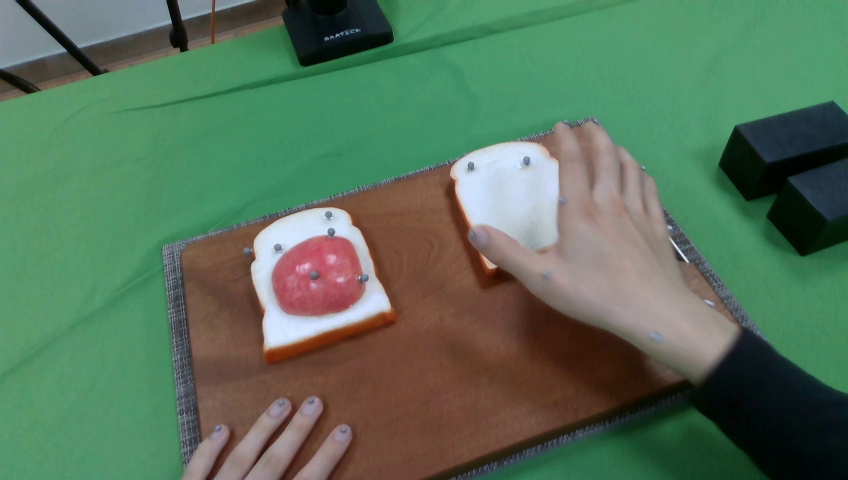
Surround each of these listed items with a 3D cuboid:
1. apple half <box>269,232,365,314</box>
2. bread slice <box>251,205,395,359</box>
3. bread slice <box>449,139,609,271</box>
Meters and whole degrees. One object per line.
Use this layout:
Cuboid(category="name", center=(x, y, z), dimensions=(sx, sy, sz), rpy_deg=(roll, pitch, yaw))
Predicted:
Cuboid(category="apple half", center=(-0.087, 0.020, 0.477), dimensions=(0.081, 0.033, 0.080), rpy_deg=(-2, 53, 2))
Cuboid(category="bread slice", center=(-0.093, 0.026, 0.503), dimensions=(0.105, 0.019, 0.130), rpy_deg=(-18, 54, -9))
Cuboid(category="bread slice", center=(0.079, -0.037, 0.530), dimensions=(0.107, 0.018, 0.133), rpy_deg=(-19, 53, -9))
